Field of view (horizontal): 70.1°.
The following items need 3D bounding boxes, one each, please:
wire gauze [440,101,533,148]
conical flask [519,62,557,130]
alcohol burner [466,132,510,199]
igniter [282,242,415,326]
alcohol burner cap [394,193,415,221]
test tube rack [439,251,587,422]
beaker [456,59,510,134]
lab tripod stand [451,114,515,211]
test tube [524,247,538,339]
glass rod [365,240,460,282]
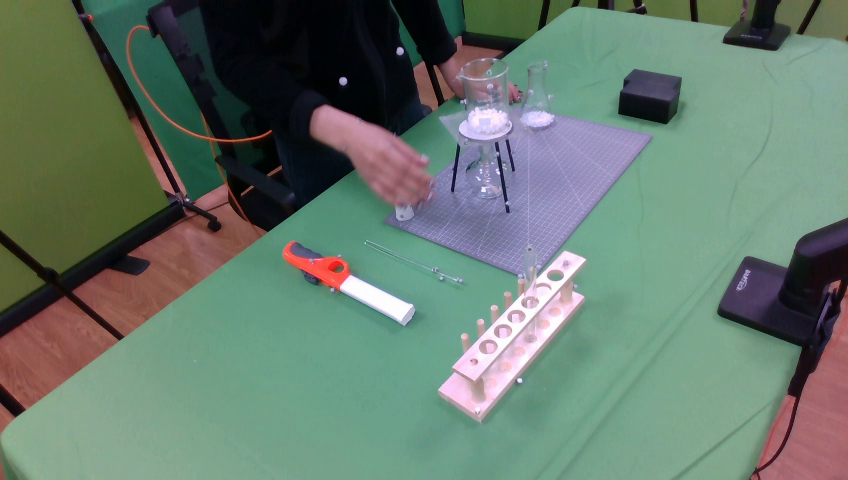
[{"bbox_3d":[0.100,-0.189,0.995,0.125,0.011,0.120,-16,38,-6],"label":"wire gauze"},{"bbox_3d":[0.225,-0.287,1.198,0.075,0.122,0.075,-6,40,5],"label":"conical flask"},{"bbox_3d":[0.110,-0.132,1.044,0.078,0.119,0.077,-5,38,5],"label":"alcohol burner"},{"bbox_3d":[-0.126,0.062,0.931,0.274,0.025,0.057,23,61,33],"label":"igniter"},{"bbox_3d":[-0.036,-0.058,1.040,0.034,0.048,0.033,-6,41,6],"label":"alcohol burner cap"},{"bbox_3d":[0.118,0.111,0.780,0.066,0.085,0.243,26,51,35],"label":"test tube rack"},{"bbox_3d":[0.097,-0.226,0.964,0.084,0.101,0.073,-7,39,3],"label":"beaker"},{"bbox_3d":[0.113,-0.140,1.037,0.148,0.132,0.147,-6,38,5],"label":"lab tripod stand"},{"bbox_3d":[0.133,0.070,0.749,0.017,0.151,0.017,-5,38,4],"label":"test tube"},{"bbox_3d":[-0.022,0.032,0.961,0.198,0.008,0.008,21,49,35],"label":"glass rod"}]
